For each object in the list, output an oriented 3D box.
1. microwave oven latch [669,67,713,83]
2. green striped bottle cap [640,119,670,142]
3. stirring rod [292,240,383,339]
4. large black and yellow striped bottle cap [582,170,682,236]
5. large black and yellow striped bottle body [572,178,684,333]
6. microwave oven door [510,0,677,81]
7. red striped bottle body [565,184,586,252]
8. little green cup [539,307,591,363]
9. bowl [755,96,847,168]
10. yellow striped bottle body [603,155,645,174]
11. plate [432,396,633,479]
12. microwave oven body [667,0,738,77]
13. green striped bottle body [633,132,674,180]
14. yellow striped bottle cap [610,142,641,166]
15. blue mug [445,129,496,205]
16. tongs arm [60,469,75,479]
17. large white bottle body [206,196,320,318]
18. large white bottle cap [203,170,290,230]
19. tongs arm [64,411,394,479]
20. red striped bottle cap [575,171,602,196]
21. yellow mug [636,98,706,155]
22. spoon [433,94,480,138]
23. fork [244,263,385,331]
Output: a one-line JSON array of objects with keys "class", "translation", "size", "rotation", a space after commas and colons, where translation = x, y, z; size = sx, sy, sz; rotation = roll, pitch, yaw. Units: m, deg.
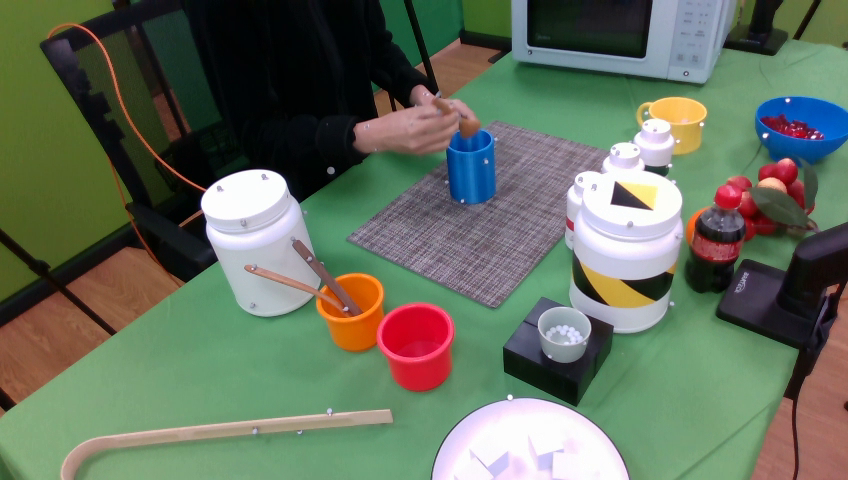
[{"class": "microwave oven latch", "translation": [0.556, -0.348, 1.261], "size": [0.078, 0.029, 0.030], "rotation": [16, 46, 27]}, {"class": "green striped bottle cap", "translation": [0.370, -0.174, 0.968], "size": [0.044, 0.020, 0.044], "rotation": [-3, 41, 3]}, {"class": "stirring rod", "translation": [-0.118, 0.068, 0.825], "size": [0.176, 0.006, 0.014], "rotation": [49, 60, -3]}, {"class": "large black and yellow striped bottle cap", "translation": [0.252, -0.048, 0.735], "size": [0.115, 0.019, 0.114], "rotation": [-3, 40, 3]}, {"class": "large black and yellow striped bottle body", "translation": [0.262, 0.017, 0.788], "size": [0.131, 0.185, 0.130], "rotation": [-5, 40, 4]}, {"class": "microwave oven door", "translation": [0.354, -0.478, 1.290], "size": [0.353, 0.245, 0.039], "rotation": [15, 45, 25]}, {"class": "red striped bottle body", "translation": [0.247, -0.041, 0.910], "size": [0.063, 0.120, 0.062], "rotation": [-3, 39, 3]}, {"class": "little green cup", "translation": [0.167, 0.114, 0.721], "size": [0.061, 0.039, 0.061], "rotation": [-4, 43, 4]}, {"class": "bowl", "translation": [0.645, -0.177, 1.041], "size": [0.151, 0.077, 0.150], "rotation": [-5, 40, 4]}, {"class": "yellow striped bottle body", "translation": [0.314, -0.090, 0.957], "size": [0.063, 0.121, 0.062], "rotation": [-4, 40, 4]}, {"class": "plate", "translation": [0.112, 0.261, 0.634], "size": [0.209, 0.038, 0.208], "rotation": [-5, 40, 4]}, {"class": "microwave oven body", "translation": [0.462, -0.552, 1.369], "size": [0.439, 0.261, 0.326], "rotation": [15, 45, 26]}, {"class": "green striped bottle body", "translation": [0.376, -0.135, 1.001], "size": [0.063, 0.120, 0.063], "rotation": [-5, 40, 5]}, {"class": "yellow striped bottle cap", "translation": [0.308, -0.131, 0.925], "size": [0.044, 0.019, 0.044], "rotation": [-4, 46, 4]}, {"class": "blue mug", "translation": [0.082, -0.137, 1.056], "size": [0.082, 0.106, 0.116], "rotation": [-4, 40, 4]}, {"class": "tongs arm", "translation": [-0.238, 0.303, 0.649], "size": [0.386, 0.028, 0.028], "rotation": [6, 50, 16]}, {"class": "large white bottle body", "translation": [-0.233, 0.008, 0.876], "size": [0.130, 0.185, 0.130], "rotation": [-4, 40, 4]}, {"class": "large white bottle cap", "translation": [-0.241, -0.057, 0.822], "size": [0.115, 0.018, 0.114], "rotation": [-4, 40, 4]}, {"class": "tongs arm", "translation": [-0.228, 0.242, 0.715], "size": [0.385, 0.026, 0.050], "rotation": [-5, 44, 4]}, {"class": "red striped bottle cap", "translation": [0.242, -0.081, 0.876], "size": [0.044, 0.018, 0.044], "rotation": [-5, 44, 5]}, {"class": "yellow mug", "translation": [0.453, -0.217, 1.128], "size": [0.100, 0.064, 0.129], "rotation": [-34, 46, -27]}, {"class": "spoon", "translation": [0.046, -0.184, 0.897], "size": [0.041, 0.195, 0.021], "rotation": [-39, 71, 14]}, {"class": "fork", "translation": [-0.141, 0.077, 0.807], "size": [0.209, 0.018, 0.028], "rotation": [30, 44, -24]}]
